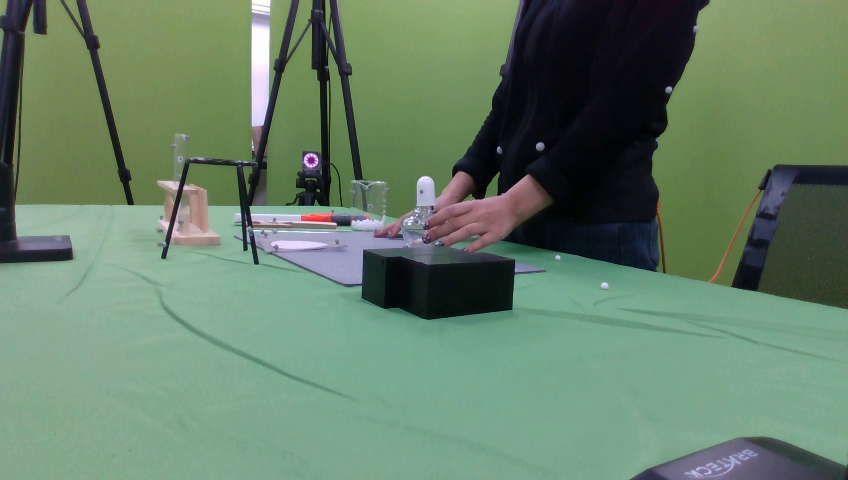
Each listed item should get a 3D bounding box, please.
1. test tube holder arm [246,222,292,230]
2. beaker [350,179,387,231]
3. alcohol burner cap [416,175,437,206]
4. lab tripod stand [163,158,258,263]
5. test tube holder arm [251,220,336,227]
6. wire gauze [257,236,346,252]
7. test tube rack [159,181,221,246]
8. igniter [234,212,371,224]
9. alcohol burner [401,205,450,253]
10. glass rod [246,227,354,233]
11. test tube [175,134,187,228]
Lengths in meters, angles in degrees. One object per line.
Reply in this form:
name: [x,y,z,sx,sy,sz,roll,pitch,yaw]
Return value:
test tube holder arm: [-0.291,-0.026,1.130,0.088,0.015,0.010,-1,42,-29]
beaker: [-0.111,-0.070,1.204,0.074,0.100,0.084,2,8,0]
alcohol burner cap: [0.003,-0.076,0.929,0.034,0.048,0.034,-3,7,1]
lab tripod stand: [-0.265,-0.041,0.802,0.148,0.131,0.148,4,6,0]
test tube holder arm: [-0.253,-0.031,1.156,0.179,0.015,0.013,-2,43,-30]
wire gauze: [-0.189,0.005,0.931,0.122,0.011,0.124,1,7,-21]
test tube rack: [-0.395,-0.050,1.010,0.067,0.085,0.241,-2,8,-28]
igniter: [-0.245,-0.045,1.248,0.278,0.025,0.057,-1,-3,-25]
alcohol burner: [0.003,-0.040,0.933,0.078,0.119,0.078,2,9,0]
glass rod: [-0.224,-0.017,1.109,0.201,0.008,0.008,1,7,-27]
test tube: [-0.388,-0.094,0.964,0.017,0.150,0.017,1,2,0]
